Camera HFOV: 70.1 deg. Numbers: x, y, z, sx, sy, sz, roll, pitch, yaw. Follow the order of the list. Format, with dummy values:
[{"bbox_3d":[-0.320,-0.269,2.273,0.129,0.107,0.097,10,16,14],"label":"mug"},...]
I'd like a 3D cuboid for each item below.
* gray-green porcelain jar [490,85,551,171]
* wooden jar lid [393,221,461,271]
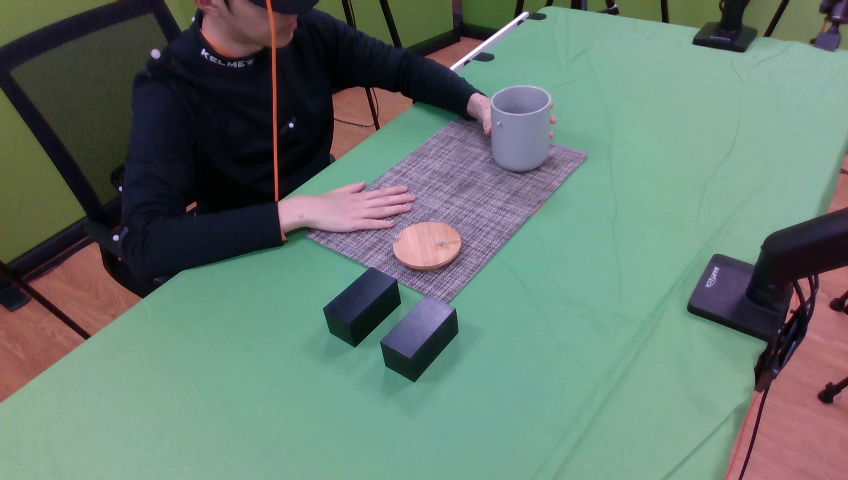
[{"bbox_3d":[0.174,-0.197,1.087,0.106,0.127,0.105,-4,41,4],"label":"gray-green porcelain jar"},{"bbox_3d":[0.005,0.010,0.952,0.108,0.021,0.108,-4,40,4],"label":"wooden jar lid"}]
